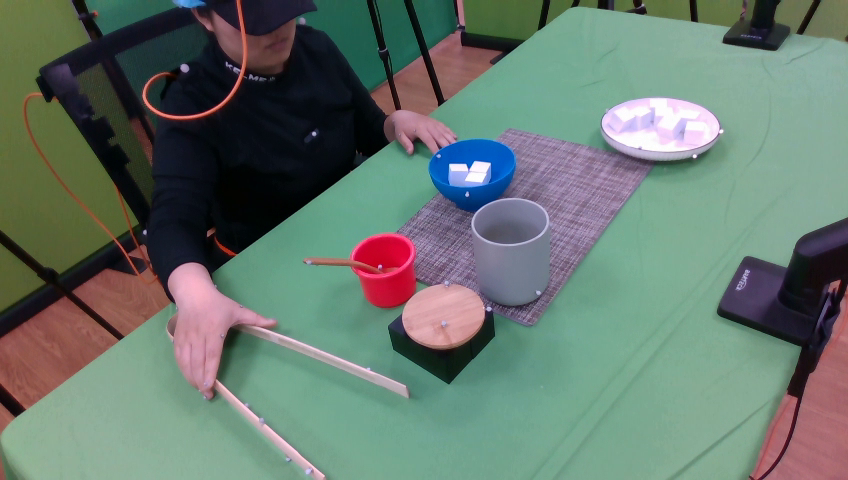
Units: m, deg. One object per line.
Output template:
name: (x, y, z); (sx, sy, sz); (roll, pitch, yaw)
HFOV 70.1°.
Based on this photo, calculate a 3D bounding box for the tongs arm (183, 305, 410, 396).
tongs arm: (-0.187, 0.149, 0.841); (0.385, 0.028, 0.028); (14, 49, 26)

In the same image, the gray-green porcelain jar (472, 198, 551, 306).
gray-green porcelain jar: (0.125, 0.021, 0.850); (0.106, 0.127, 0.105); (-6, 40, 5)

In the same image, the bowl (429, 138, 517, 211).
bowl: (0.087, -0.104, 1.043); (0.151, 0.077, 0.150); (-5, 40, 5)

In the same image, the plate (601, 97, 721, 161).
plate: (0.436, -0.202, 1.126); (0.209, 0.038, 0.208); (-5, 39, 5)

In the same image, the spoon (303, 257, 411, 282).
spoon: (-0.092, 0.038, 0.865); (0.195, 0.021, 0.041); (16, 15, -46)

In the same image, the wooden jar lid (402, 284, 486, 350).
wooden jar lid: (0.026, 0.101, 0.786); (0.108, 0.021, 0.108); (-5, 39, 4)

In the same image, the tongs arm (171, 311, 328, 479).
tongs arm: (-0.236, 0.192, 0.794); (0.381, 0.026, 0.051); (24, 50, 35)
